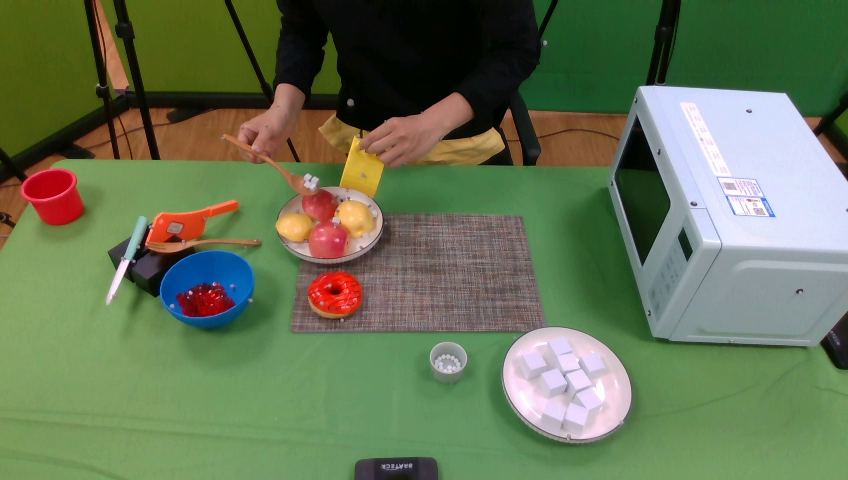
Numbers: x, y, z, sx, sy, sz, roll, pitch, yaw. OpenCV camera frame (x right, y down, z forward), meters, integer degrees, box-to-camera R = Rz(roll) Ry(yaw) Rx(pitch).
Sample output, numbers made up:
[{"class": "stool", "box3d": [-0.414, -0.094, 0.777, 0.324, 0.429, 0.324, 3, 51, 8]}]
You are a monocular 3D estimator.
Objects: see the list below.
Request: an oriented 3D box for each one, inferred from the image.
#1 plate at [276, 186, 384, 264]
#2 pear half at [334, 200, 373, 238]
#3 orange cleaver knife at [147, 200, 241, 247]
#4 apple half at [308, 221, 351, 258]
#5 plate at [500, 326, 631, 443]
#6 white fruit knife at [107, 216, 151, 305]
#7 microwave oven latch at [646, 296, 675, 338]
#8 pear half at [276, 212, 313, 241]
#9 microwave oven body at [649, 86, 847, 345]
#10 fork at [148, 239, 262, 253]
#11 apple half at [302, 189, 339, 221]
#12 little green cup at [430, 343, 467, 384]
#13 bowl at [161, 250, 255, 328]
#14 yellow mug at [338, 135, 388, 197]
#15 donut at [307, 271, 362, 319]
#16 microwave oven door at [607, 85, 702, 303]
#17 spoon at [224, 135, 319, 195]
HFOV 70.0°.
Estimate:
[{"class": "plate", "box3d": [-0.184, -0.027, 1.195, 0.209, 0.038, 0.208, 2, 46, -2]}, {"class": "pear half", "box3d": [-0.147, -0.059, 1.210, 0.076, 0.056, 0.109, -17, 44, -25]}, {"class": "orange cleaver knife", "box3d": [-0.435, -0.033, 1.157, 0.012, 0.077, 0.211, 31, 26, 19]}, {"class": "apple half", "box3d": [-0.180, -0.005, 1.150, 0.074, 0.053, 0.080, 14, 44, 8]}, {"class": "plate", "box3d": [0.224, 0.234, 0.978, 0.208, 0.039, 0.206, 2, 46, -2]}, {"class": "white fruit knife", "box3d": [-0.518, 0.032, 1.066, 0.027, 0.016, 0.206, -19, 45, 19]}, {"class": "microwave oven latch", "box3d": [0.412, 0.134, 1.061, 0.030, 0.029, 0.078, 4, 45, 1]}, {"class": "pear half", "box3d": [-0.245, -0.034, 1.179, 0.070, 0.031, 0.088, 41, 42, 1]}, {"class": "microwave oven body", "box3d": [0.568, -0.053, 1.118, 0.326, 0.261, 0.439, 2, 45, -1]}, {"class": "fork", "box3d": [-0.398, 0.008, 1.117, 0.208, 0.019, 0.028, -5, 34, -37]}, {"class": "apple half", "box3d": [-0.204, -0.075, 1.216, 0.081, 0.033, 0.081, 17, 45, -17]}, {"class": "little green cup", "box3d": [0.039, 0.203, 0.994, 0.061, 0.039, 0.061, 2, 46, -2]}, {"class": "bowl", "box3d": [-0.362, 0.097, 1.040, 0.151, 0.077, 0.150, 2, 45, -2]}, {"class": "yellow mug", "box3d": [-0.107, -0.141, 1.091, 0.064, 0.131, 0.099, 17, 60, -11]}, {"class": "donut", "box3d": [-0.157, 0.097, 1.072, 0.099, 0.048, 0.098, 4, 45, -4]}, {"class": "microwave oven door", "box3d": [0.423, -0.094, 1.140, 0.039, 0.245, 0.353, 2, 46, -1]}, {"class": "spoon", "box3d": [-0.281, -0.141, 1.122, 0.194, 0.021, 0.041, 34, 48, -16]}]
